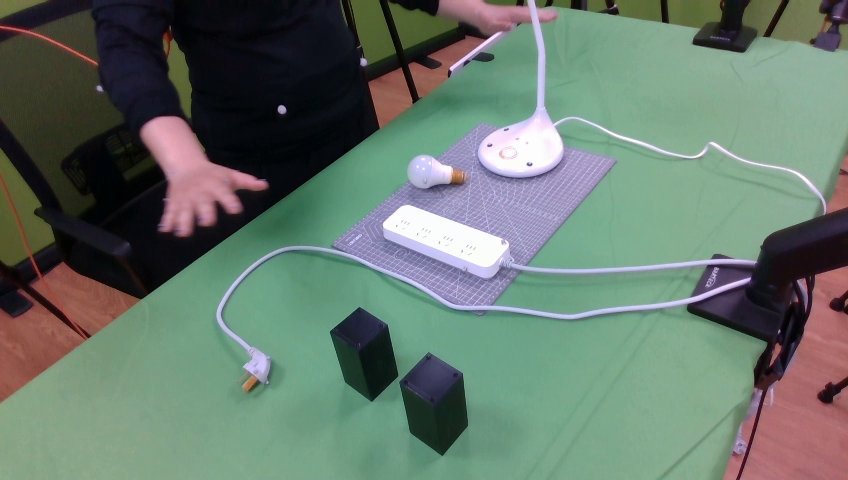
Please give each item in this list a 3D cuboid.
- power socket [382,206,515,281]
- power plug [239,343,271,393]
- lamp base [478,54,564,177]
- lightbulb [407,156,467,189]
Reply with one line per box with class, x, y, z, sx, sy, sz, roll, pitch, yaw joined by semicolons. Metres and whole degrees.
power socket;0.032;0.002;0.950;0.225;0.033;0.072;21;49;29
power plug;-0.229;0.172;0.801;0.072;0.035;0.053;7;50;51
lamp base;0.180;-0.232;1.090;0.159;0.181;0.180;21;45;30
lightbulb;0.023;-0.117;1.080;0.108;0.059;0.059;7;40;-7
